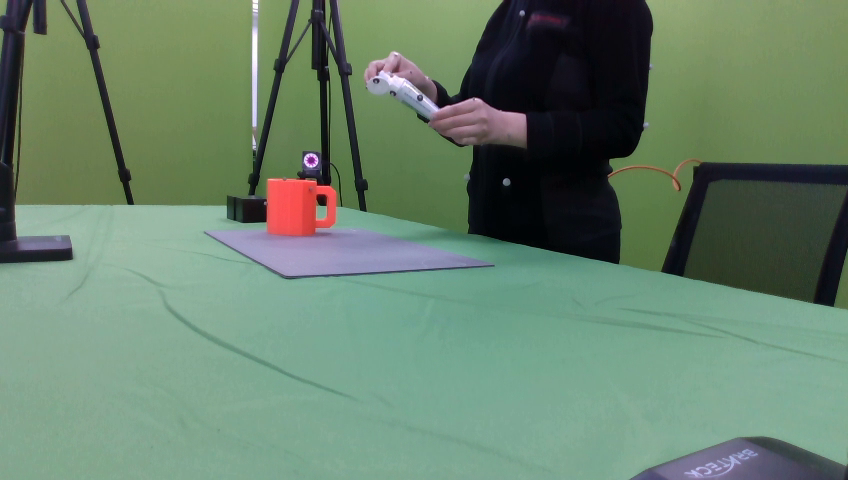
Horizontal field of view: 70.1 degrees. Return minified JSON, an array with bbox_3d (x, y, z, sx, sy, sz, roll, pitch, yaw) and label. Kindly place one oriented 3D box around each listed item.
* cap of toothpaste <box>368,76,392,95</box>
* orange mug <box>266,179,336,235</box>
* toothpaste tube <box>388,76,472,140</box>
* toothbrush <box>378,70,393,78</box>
[{"bbox_3d":[-0.069,-0.242,0.942,0.037,0.011,0.037,-5,-36,-3],"label":"cap of toothpaste"},{"bbox_3d":[-0.222,-0.062,1.094,0.127,0.101,0.083,-5,10,-22],"label":"orange mug"},{"bbox_3d":[0.008,-0.213,0.981,0.165,0.034,0.055,31,20,-16],"label":"toothpaste tube"},{"bbox_3d":[-0.063,-0.285,1.049,0.017,0.014,0.181,24,14,-6],"label":"toothbrush"}]
